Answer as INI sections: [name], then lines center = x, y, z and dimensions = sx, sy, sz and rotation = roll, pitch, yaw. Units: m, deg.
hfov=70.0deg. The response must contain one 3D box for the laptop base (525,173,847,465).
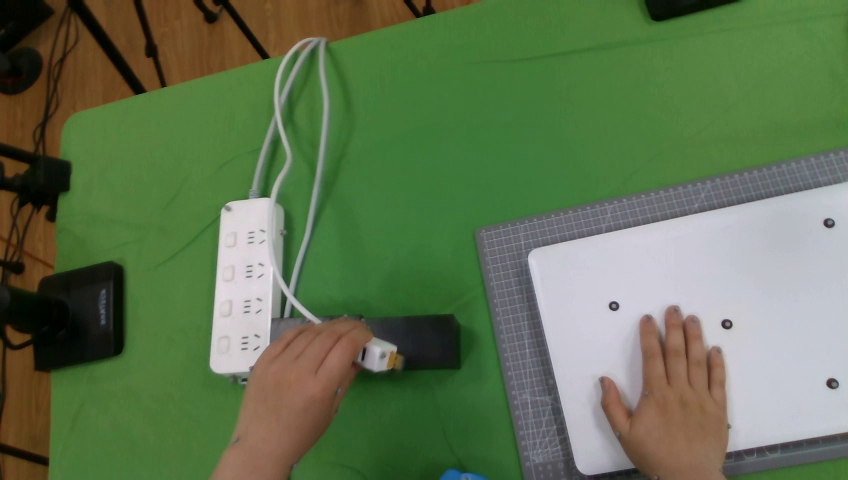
[laptop base]
center = 0.297, 0.076, 0.610
dimensions = 0.354, 0.023, 0.234
rotation = -12, 75, 7

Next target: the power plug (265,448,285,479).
[power plug]
center = -0.173, 0.263, 0.645
dimensions = 0.052, 0.035, 0.072
rotation = -16, 26, 29

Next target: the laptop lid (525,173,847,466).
[laptop lid]
center = 0.296, 0.076, 0.600
dimensions = 0.356, 0.013, 0.240
rotation = -11, 74, 8

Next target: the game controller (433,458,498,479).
[game controller]
center = 0.019, 0.287, 0.584
dimensions = 0.096, 0.052, 0.155
rotation = 39, 83, 22

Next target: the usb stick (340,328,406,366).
[usb stick]
center = -0.044, 0.095, 0.534
dimensions = 0.059, 0.027, 0.021
rotation = 7, 62, 38

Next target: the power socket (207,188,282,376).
[power socket]
center = -0.209, 0.044, 0.711
dimensions = 0.072, 0.033, 0.225
rotation = -4, 71, 8
